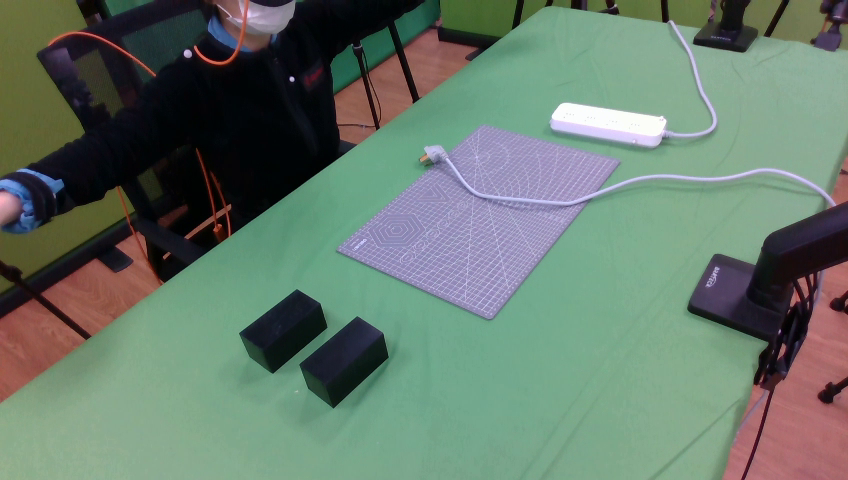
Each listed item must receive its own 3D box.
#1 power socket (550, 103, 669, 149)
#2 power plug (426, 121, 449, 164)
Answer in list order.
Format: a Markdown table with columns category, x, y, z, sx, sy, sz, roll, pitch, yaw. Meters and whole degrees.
| category | x | y | z | sx | sy | sz | roll | pitch | yaw |
| --- | --- | --- | --- | --- | --- | --- | --- | --- | --- |
| power socket | 0.353 | -0.222 | 1.169 | 0.225 | 0.033 | 0.072 | 17 | 47 | 25 |
| power plug | 0.034 | -0.180 | 1.142 | 0.053 | 0.072 | 0.035 | 33 | 24 | -17 |
